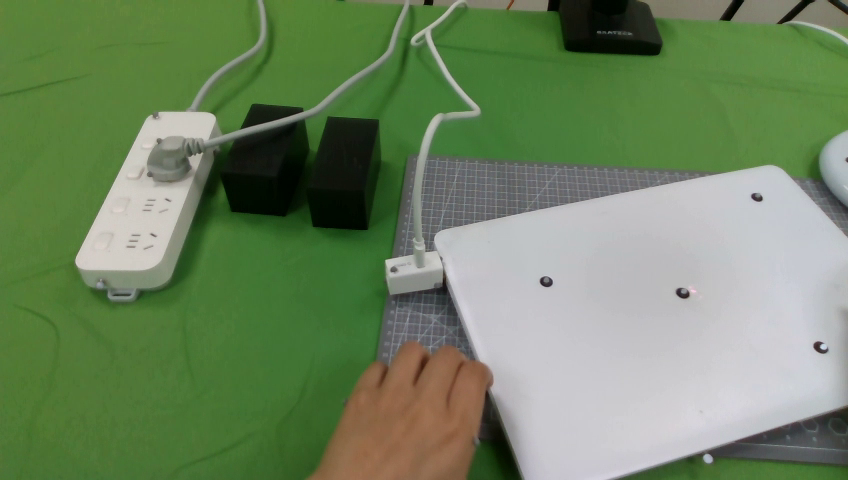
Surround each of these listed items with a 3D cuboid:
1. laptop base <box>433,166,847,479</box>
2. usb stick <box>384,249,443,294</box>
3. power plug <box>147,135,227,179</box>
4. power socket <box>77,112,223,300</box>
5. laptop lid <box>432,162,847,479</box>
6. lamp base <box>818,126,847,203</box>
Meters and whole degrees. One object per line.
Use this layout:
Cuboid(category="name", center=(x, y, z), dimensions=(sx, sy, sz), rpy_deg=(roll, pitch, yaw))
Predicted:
Cuboid(category="laptop base", center=(0.204, 0.050, 0.495), dimensions=(0.355, 0.023, 0.233), rpy_deg=(-12, 53, -12))
Cuboid(category="usb stick", center=(-0.002, 0.025, 0.494), dimensions=(0.059, 0.027, 0.021), rpy_deg=(-7, 44, -12))
Cuboid(category="power plug", center=(-0.213, -0.067, 0.545), dimensions=(0.072, 0.053, 0.035), rpy_deg=(9, 49, 7))
Cuboid(category="power socket", center=(-0.243, -0.044, 0.556), dimensions=(0.072, 0.033, 0.224), rpy_deg=(2, 48, -1))
Cuboid(category="laptop lid", center=(0.205, 0.044, 0.484), dimensions=(0.357, 0.013, 0.239), rpy_deg=(-10, 52, -11))
Cuboid(category="lamp base", center=(0.482, -0.120, 0.543), dimensions=(0.159, 0.182, 0.179), rpy_deg=(34, 52, 26))
